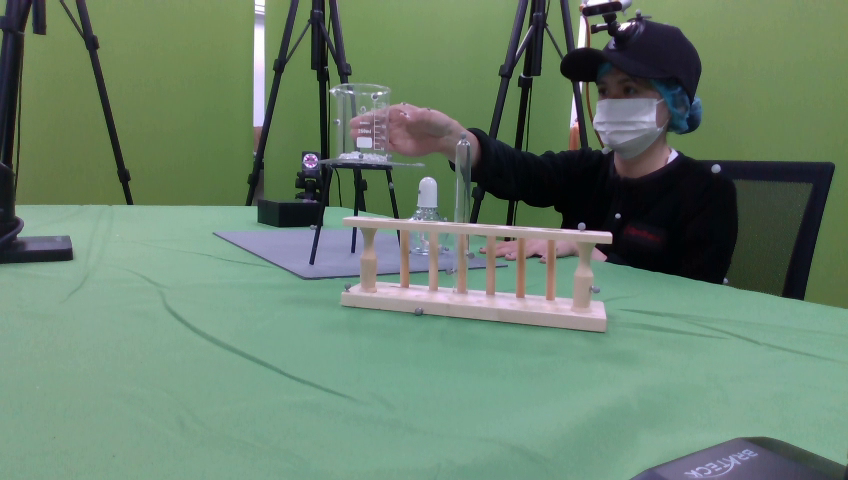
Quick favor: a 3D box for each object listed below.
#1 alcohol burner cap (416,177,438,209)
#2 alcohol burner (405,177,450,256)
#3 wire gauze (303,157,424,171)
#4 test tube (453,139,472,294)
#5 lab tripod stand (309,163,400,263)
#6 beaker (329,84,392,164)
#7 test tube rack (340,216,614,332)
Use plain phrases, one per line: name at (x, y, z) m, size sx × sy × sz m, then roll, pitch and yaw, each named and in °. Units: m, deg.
alcohol burner cap at (0.005, -0.072, 0.914) m, size 0.034 × 0.048 × 0.034 m, roll 3°, pitch 9°, yaw 0°
alcohol burner at (0.004, -0.036, 0.917) m, size 0.078 × 0.119 × 0.078 m, roll 3°, pitch 6°, yaw 0°
wire gauze at (-0.082, -0.102, 0.799) m, size 0.126 × 0.011 × 0.121 m, roll 1°, pitch 7°, yaw -30°
test tube at (0.038, -0.021, 0.584) m, size 0.017 × 0.150 × 0.017 m, roll 1°, pitch 7°, yaw 0°
lab tripod stand at (-0.091, -0.037, 0.813) m, size 0.148 × 0.131 × 0.148 m, roll 1°, pitch 6°, yaw 0°
beaker at (-0.084, -0.149, 0.794) m, size 0.084 × 0.100 × 0.073 m, roll -1°, pitch 6°, yaw -23°
test tube rack at (0.048, 0.026, 0.568) m, size 0.242 × 0.085 × 0.067 m, roll 4°, pitch 8°, yaw 13°
